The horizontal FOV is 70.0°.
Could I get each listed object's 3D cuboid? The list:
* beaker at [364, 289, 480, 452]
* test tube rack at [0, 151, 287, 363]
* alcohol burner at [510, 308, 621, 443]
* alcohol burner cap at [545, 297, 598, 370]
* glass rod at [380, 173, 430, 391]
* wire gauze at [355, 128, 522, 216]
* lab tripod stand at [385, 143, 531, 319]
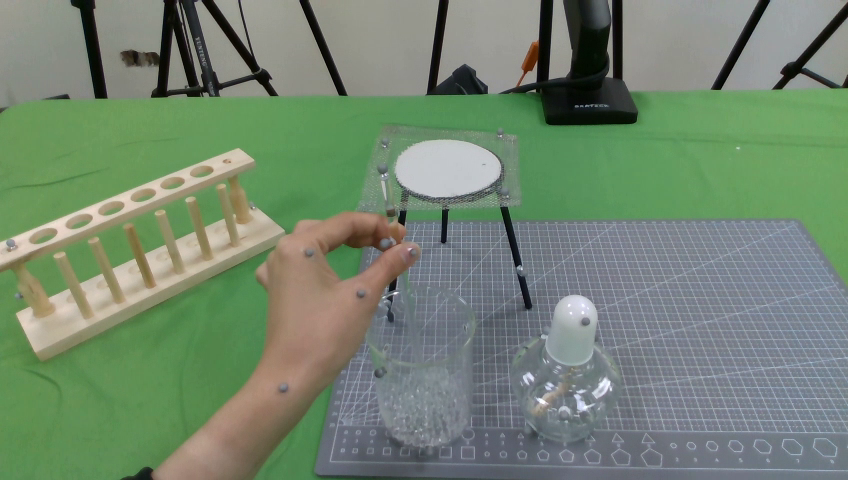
[{"bbox_3d":[-0.002,0.094,0.430,0.074,0.101,0.083,-31,46,-31],"label":"beaker"},{"bbox_3d":[-0.258,0.007,0.572,0.242,0.086,0.066,-30,45,-30],"label":"test tube rack"},{"bbox_3d":[0.100,0.087,0.421,0.078,0.120,0.077,-1,41,2],"label":"alcohol burner"},{"bbox_3d":[0.099,0.058,0.398,0.034,0.048,0.033,1,40,0],"label":"alcohol burner cap"},{"bbox_3d":[-0.011,0.039,0.413,0.008,0.201,0.008,-5,39,5],"label":"glass rod"},{"bbox_3d":[0.015,-0.057,0.483,0.121,0.011,0.124,2,39,5],"label":"wire gauze"},{"bbox_3d":[0.027,-0.006,0.526,0.148,0.132,0.147,0,37,1],"label":"lab tripod stand"}]
